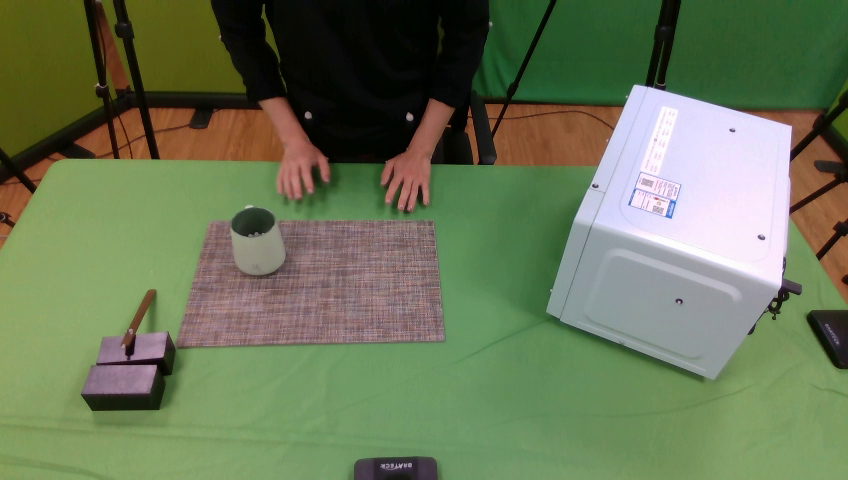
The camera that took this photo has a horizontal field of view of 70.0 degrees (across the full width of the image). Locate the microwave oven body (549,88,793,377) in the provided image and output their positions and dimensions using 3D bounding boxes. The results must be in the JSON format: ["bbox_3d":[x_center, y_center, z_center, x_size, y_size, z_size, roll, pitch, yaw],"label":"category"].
[{"bbox_3d":[0.456,-0.028,1.088,0.325,0.261,0.440,20,47,16],"label":"microwave oven body"}]

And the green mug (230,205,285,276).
[{"bbox_3d":[-0.311,-0.008,1.118,0.092,0.105,0.124,-14,48,-16],"label":"green mug"}]

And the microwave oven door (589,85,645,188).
[{"bbox_3d":[0.342,-0.107,1.149,0.039,0.245,0.354,20,48,15],"label":"microwave oven door"}]

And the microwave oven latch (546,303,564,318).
[{"bbox_3d":[0.242,0.102,1.081,0.030,0.029,0.079,21,48,17],"label":"microwave oven latch"}]

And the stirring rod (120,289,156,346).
[{"bbox_3d":[-0.474,0.125,1.008,0.014,0.006,0.175,-5,25,-8],"label":"stirring rod"}]
